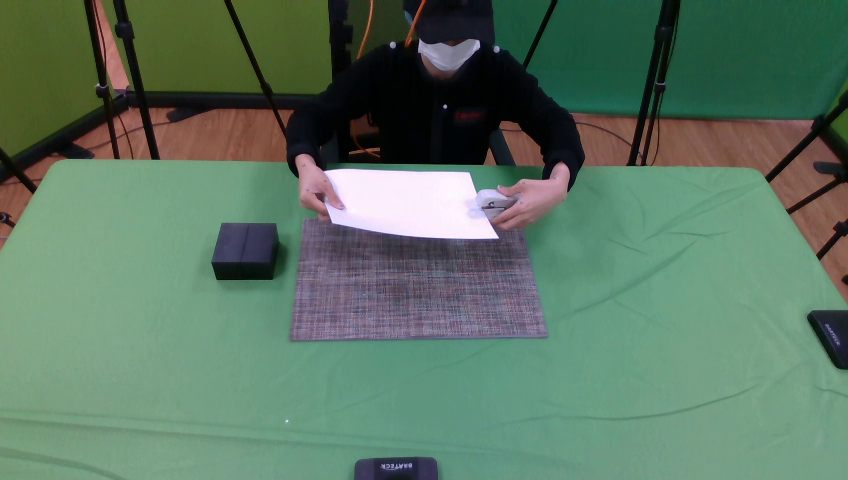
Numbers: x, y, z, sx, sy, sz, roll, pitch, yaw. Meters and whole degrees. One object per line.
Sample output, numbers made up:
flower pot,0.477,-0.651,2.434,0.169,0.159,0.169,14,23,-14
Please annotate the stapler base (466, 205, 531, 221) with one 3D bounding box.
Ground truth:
stapler base,0.146,-0.061,1.162,0.131,0.024,0.041,-5,48,-21

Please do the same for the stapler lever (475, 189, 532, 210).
stapler lever,0.151,-0.078,1.146,0.118,0.040,0.026,-6,48,-21
